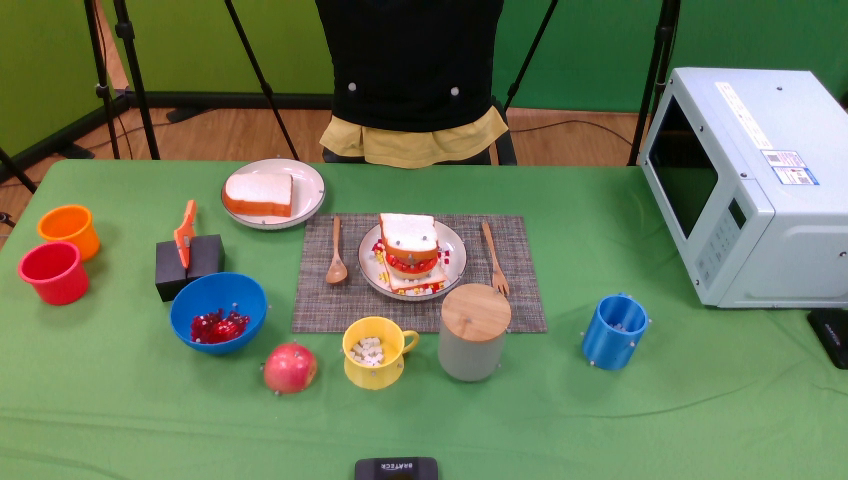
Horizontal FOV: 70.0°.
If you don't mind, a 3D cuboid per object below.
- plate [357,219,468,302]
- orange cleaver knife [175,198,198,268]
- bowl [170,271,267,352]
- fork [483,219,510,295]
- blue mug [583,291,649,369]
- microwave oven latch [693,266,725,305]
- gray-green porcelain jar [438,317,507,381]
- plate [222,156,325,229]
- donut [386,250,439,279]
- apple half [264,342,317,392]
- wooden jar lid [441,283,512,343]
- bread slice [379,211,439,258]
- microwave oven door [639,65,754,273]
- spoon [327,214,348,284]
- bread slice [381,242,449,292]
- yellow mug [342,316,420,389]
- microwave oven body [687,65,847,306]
[{"bbox_3d":[-0.021,0.037,1.141,0.208,0.039,0.206,2,46,-2],"label":"plate"},{"bbox_3d":[-0.438,-0.017,1.138,0.012,0.077,0.210,-13,27,-7],"label":"orange cleaver knife"},{"bbox_3d":[-0.333,0.132,1.006,0.151,0.077,0.150,2,46,-2],"label":"bowl"},{"bbox_3d":[0.136,0.029,1.172,0.028,0.019,0.206,-11,48,2],"label":"fork"},{"bbox_3d":[0.324,0.142,1.023,0.082,0.106,0.116,15,47,11],"label":"blue mug"},{"bbox_3d":[0.523,0.082,1.115,0.030,0.029,0.078,3,46,0],"label":"microwave oven latch"},{"bbox_3d":[0.076,0.158,0.977,0.106,0.127,0.105,2,47,-2],"label":"gray-green porcelain jar"},{"bbox_3d":[-0.308,-0.095,1.251,0.209,0.038,0.208,2,47,-2],"label":"plate"},{"bbox_3d":[-0.021,0.028,1.110,0.099,0.048,0.098,2,45,-2],"label":"donut"},{"bbox_3d":[-0.214,0.198,0.970,0.074,0.053,0.080,19,48,11],"label":"apple half"},{"bbox_3d":[0.080,0.114,0.931,0.108,0.021,0.107,1,49,0],"label":"wooden jar lid"},{"bbox_3d":[-0.024,-0.012,1.064,0.105,0.019,0.130,3,33,-10],"label":"bread slice"},{"bbox_3d":[0.522,-0.147,1.193,0.039,0.245,0.353,0,47,-3],"label":"microwave oven door"},{"bbox_3d":[-0.167,0.013,1.164,0.041,0.022,0.192,-19,47,11],"label":"spoon"},{"bbox_3d":[-0.026,0.039,1.139,0.107,0.018,0.133,-12,47,-16],"label":"bread slice"},{"bbox_3d":[-0.067,0.177,0.990,0.131,0.064,0.099,-16,50,-19],"label":"yellow mug"},{"bbox_3d":[0.669,-0.111,1.176,0.326,0.261,0.439,0,46,-3],"label":"microwave oven body"}]
